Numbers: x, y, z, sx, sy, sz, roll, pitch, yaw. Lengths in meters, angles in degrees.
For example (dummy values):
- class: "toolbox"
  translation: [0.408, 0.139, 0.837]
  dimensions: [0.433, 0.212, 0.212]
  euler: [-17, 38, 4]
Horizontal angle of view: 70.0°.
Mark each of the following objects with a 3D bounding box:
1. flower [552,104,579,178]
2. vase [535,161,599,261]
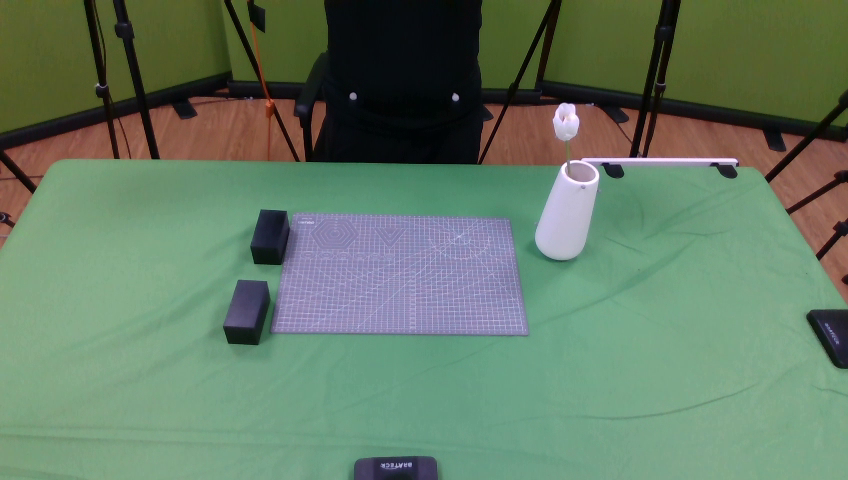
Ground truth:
- class: "flower"
  translation: [0.258, -0.102, 1.080]
  dimensions: [0.038, 0.364, 0.043]
  euler: [-25, 55, -2]
- class: "vase"
  translation: [0.270, -0.051, 1.145]
  dimensions: [0.098, 0.201, 0.097]
  euler: [1, 46, -1]
